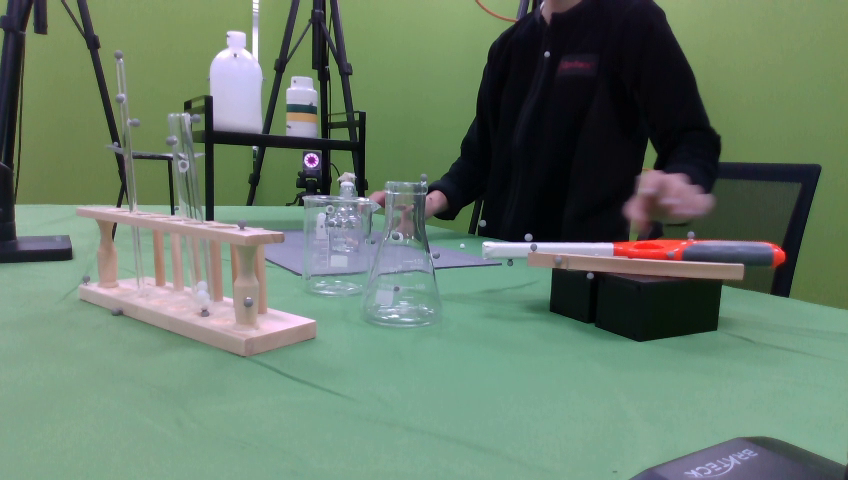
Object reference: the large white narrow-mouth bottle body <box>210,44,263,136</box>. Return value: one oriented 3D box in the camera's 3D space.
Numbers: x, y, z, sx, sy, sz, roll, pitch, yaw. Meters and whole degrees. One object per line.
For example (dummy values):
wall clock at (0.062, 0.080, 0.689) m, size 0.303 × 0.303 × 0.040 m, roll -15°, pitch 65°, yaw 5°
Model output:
large white narrow-mouth bottle body at (-0.369, -0.305, 1.194) m, size 0.102 × 0.194 × 0.102 m, roll 3°, pitch 8°, yaw 0°

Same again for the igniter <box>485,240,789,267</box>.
igniter at (0.197, 0.012, 0.585) m, size 0.276 × 0.025 × 0.057 m, roll 1°, pitch 5°, yaw 12°

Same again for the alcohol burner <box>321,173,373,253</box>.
alcohol burner at (-0.115, -0.041, 0.905) m, size 0.078 × 0.119 × 0.078 m, roll 1°, pitch 6°, yaw 0°

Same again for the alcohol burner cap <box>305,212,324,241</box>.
alcohol burner cap at (-0.185, -0.023, 1.027) m, size 0.034 × 0.048 × 0.034 m, roll 2°, pitch 6°, yaw 0°

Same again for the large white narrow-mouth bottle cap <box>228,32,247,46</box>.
large white narrow-mouth bottle cap at (-0.364, -0.390, 1.180) m, size 0.038 × 0.024 × 0.037 m, roll 3°, pitch 8°, yaw 0°

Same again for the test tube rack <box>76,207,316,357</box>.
test tube rack at (-0.196, 0.023, 0.500) m, size 0.241 × 0.085 × 0.067 m, roll 8°, pitch 9°, yaw 36°

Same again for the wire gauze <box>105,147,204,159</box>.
wire gauze at (-0.407, -0.131, 0.928) m, size 0.125 × 0.011 × 0.121 m, roll 2°, pitch 6°, yaw -11°

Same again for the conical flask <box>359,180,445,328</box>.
conical flask at (-0.017, 0.010, 0.522) m, size 0.075 × 0.122 × 0.075 m, roll 2°, pitch 7°, yaw 0°

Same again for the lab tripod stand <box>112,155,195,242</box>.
lab tripod stand at (-0.405, -0.064, 0.931) m, size 0.148 × 0.131 × 0.148 m, roll 1°, pitch 6°, yaw 0°

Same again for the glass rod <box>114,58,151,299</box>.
glass rod at (-0.236, -0.044, 0.492) m, size 0.008 × 0.199 × 0.008 m, roll 1°, pitch 15°, yaw 0°

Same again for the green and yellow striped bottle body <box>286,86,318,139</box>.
green and yellow striped bottle body at (-0.251, -0.270, 1.245) m, size 0.063 × 0.119 × 0.063 m, roll 2°, pitch 7°, yaw 0°

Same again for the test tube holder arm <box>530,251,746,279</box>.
test tube holder arm at (0.182, 0.022, 0.523) m, size 0.178 × 0.015 × 0.013 m, roll 3°, pitch 6°, yaw 12°

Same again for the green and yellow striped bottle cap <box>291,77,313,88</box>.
green and yellow striped bottle cap at (-0.250, -0.321, 1.237) m, size 0.045 × 0.020 × 0.045 m, roll 3°, pitch 5°, yaw 0°

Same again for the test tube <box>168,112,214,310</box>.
test tube at (-0.175, -0.020, 0.455) m, size 0.017 × 0.150 × 0.017 m, roll -4°, pitch 9°, yaw 1°

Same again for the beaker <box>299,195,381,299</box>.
beaker at (-0.087, 0.006, 0.626) m, size 0.084 × 0.100 × 0.074 m, roll 0°, pitch 8°, yaw -17°

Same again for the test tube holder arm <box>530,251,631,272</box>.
test tube holder arm at (0.139, 0.019, 0.538) m, size 0.087 × 0.015 × 0.010 m, roll 3°, pitch 6°, yaw 13°
